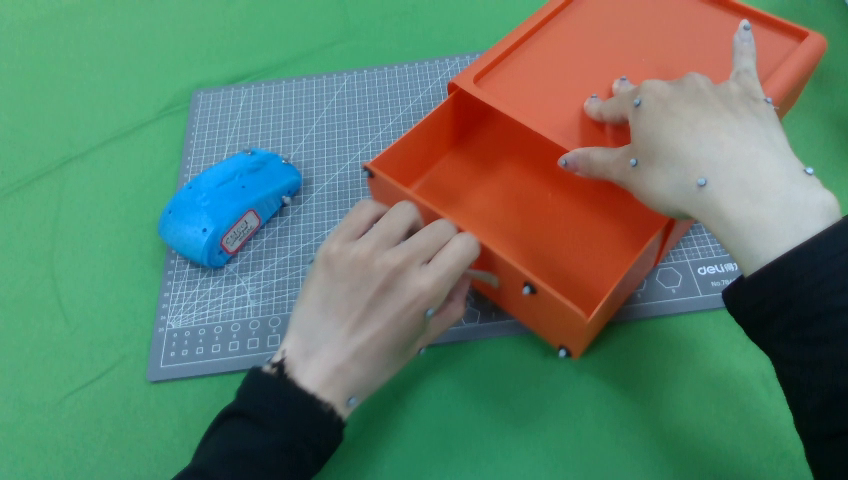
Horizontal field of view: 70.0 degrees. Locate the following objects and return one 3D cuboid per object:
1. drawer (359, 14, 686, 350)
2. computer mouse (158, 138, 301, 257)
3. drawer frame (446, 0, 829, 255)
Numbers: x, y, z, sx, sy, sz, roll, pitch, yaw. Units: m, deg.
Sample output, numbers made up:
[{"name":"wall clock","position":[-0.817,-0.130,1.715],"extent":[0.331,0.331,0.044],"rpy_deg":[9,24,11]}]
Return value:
[{"name":"drawer","position":[0.095,-0.058,0.451],"extent":[0.193,0.074,0.211],"rpy_deg":[36,69,25]},{"name":"computer mouse","position":[-0.158,-0.041,0.493],"extent":[0.062,0.041,0.117],"rpy_deg":[29,61,24]},{"name":"drawer frame","position":[0.161,-0.122,0.483],"extent":[0.200,0.083,0.213],"rpy_deg":[37,68,25]}]
